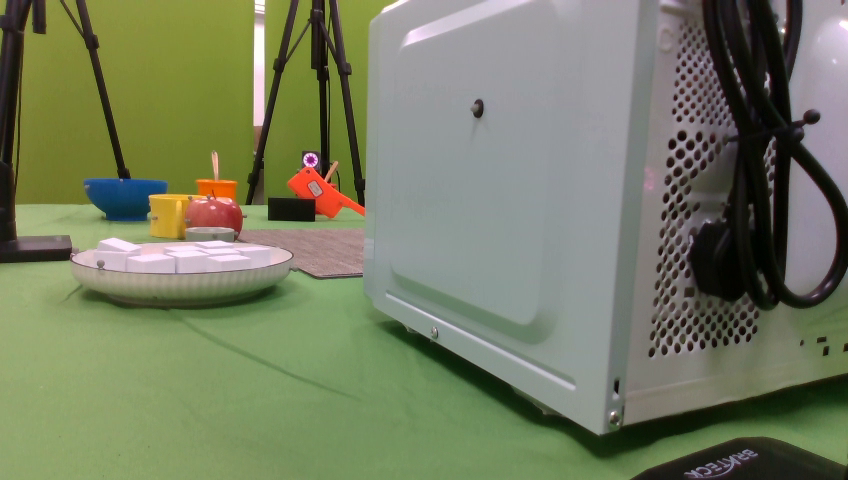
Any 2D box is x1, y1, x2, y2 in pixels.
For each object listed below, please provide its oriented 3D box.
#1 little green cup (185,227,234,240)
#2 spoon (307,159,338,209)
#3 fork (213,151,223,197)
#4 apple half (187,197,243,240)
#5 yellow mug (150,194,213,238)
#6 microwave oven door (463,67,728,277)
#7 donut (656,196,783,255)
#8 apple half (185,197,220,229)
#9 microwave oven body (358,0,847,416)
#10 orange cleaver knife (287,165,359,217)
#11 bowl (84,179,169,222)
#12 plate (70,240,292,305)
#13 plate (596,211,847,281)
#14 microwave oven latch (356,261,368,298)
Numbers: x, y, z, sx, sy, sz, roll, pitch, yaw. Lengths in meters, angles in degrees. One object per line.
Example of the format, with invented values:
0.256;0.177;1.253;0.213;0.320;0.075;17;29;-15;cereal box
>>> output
-0.285;0.005;0.805;0.061;0.038;0.061;2;8;0;little green cup
-0.257;-0.147;1.567;0.041;0.022;0.193;1;50;20;spoon
-0.493;-0.143;1.442;0.028;0.018;0.206;-3;52;-18;fork
-0.305;-0.026;0.907;0.053;0.074;0.081;12;8;31;apple half
-0.401;-0.040;1.003;0.100;0.064;0.130;-1;9;-20;yellow mug
0.205;-0.096;0.812;0.354;0.243;0.039;9;10;41;microwave oven door
0.251;-0.012;0.518;0.099;0.048;0.099;2;9;0;donut
-0.338;-0.031;0.927;0.032;0.081;0.081;12;12;31;apple half
0.210;-0.047;0.475;0.444;0.260;0.324;-1;7;-28;microwave oven body
-0.211;-0.092;1.382;0.212;0.077;0.012;33;2;-15;orange cleaver knife
-0.584;-0.078;1.194;0.151;0.077;0.151;3;8;0;bowl
-0.242;0.031;0.618;0.208;0.039;0.207;2;8;0;plate
0.254;0.002;0.519;0.209;0.038;0.209;3;8;0;plate
-0.020;0.033;0.530;0.079;0.029;0.030;0;7;-26;microwave oven latch
